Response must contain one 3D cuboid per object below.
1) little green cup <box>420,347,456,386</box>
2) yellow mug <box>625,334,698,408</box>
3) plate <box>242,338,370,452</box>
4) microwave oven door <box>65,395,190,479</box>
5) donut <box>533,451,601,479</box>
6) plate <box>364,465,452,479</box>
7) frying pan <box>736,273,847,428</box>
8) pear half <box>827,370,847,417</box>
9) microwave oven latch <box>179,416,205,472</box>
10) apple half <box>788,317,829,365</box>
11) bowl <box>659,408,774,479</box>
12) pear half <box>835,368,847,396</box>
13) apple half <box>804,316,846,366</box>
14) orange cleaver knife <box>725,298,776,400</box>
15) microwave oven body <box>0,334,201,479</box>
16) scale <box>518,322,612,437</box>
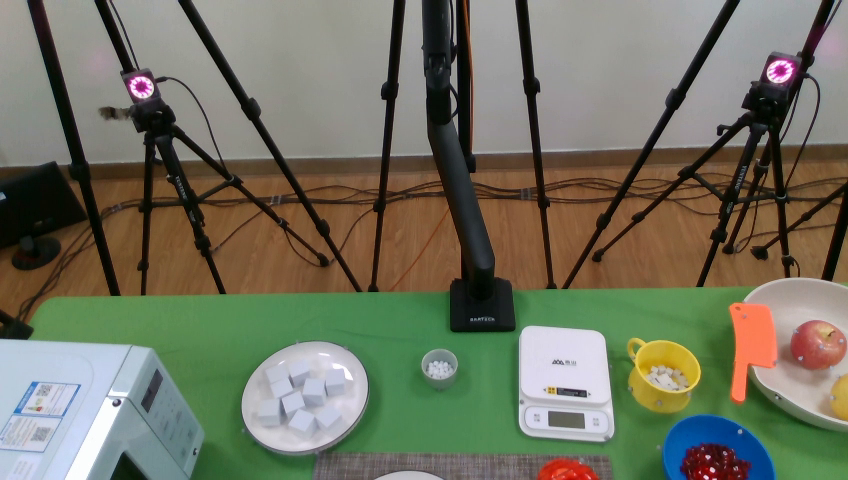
[{"bbox_3d":[0.025,0.216,1.030,0.061,0.039,0.061,-2,45,2],"label":"little green cup"},{"bbox_3d":[0.379,0.206,1.000,0.100,0.064,0.129,-25,48,-19],"label":"yellow mug"},{"bbox_3d":[-0.191,0.257,1.004,0.207,0.039,0.205,-2,45,2],"label":"plate"},{"bbox_3d":[-0.388,0.397,0.708,0.039,0.246,0.352,1,46,5],"label":"microwave oven door"},{"bbox_3d":[0.206,0.354,0.874,0.099,0.049,0.098,-3,46,3],"label":"donut"},{"bbox_3d":[-0.024,0.416,0.832,0.209,0.038,0.207,-2,46,2],"label":"plate"},{"bbox_3d":[0.700,0.237,0.923,0.307,0.104,0.482,-21,40,-15],"label":"frying pan"},{"bbox_3d":[0.662,0.232,0.920,0.075,0.111,0.056,27,53,31],"label":"pear half"},{"bbox_3d":[-0.362,0.313,0.932,0.030,0.030,0.078,3,47,6],"label":"microwave oven latch"},{"bbox_3d":[0.626,0.172,1.004,0.033,0.082,0.080,-5,45,-6],"label":"apple half"},{"bbox_3d":[0.408,0.328,0.870,0.151,0.077,0.150,-2,46,2],"label":"bowl"},{"bbox_3d":[0.687,0.219,0.944,0.070,0.089,0.031,26,55,29],"label":"pear half"},{"bbox_3d":[0.664,0.168,1.008,0.053,0.075,0.080,-5,42,-6],"label":"apple half"},{"bbox_3d":[0.524,0.171,0.973,0.077,0.012,0.210,13,48,17],"label":"orange cleaver knife"},{"bbox_3d":[-0.529,0.367,0.753,0.326,0.262,0.437,2,46,5],"label":"microwave oven body"},{"bbox_3d":[0.232,0.228,1.011,0.148,0.032,0.199,2,46,6],"label":"scale"}]
